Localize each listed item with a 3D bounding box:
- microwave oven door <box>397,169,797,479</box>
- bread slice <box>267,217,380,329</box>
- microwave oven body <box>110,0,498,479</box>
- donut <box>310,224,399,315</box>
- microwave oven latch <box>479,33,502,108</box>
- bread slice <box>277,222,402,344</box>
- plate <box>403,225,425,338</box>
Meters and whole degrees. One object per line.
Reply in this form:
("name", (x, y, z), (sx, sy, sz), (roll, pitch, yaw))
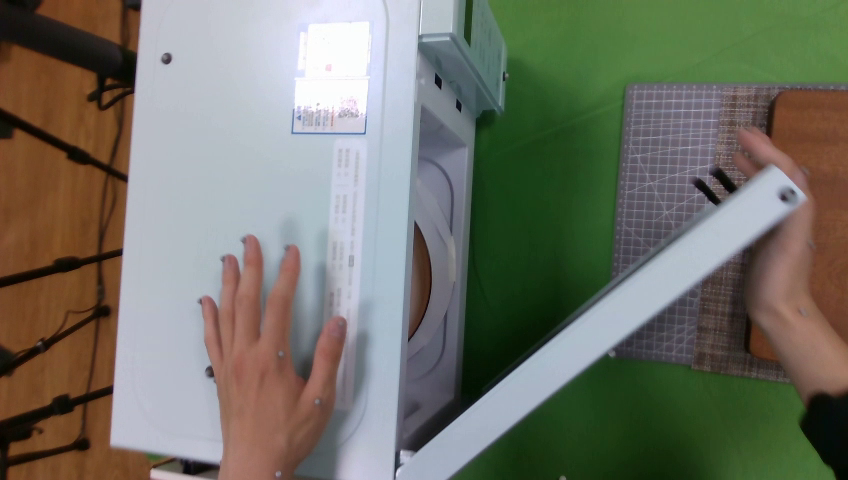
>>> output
("microwave oven door", (0.144, 0.080, 0.544), (0.356, 0.245, 0.039), (-43, 76, 11))
("bread slice", (-0.102, 0.032, 0.608), (0.133, 0.018, 0.107), (0, 89, 28))
("microwave oven body", (-0.107, -0.023, 0.625), (0.325, 0.261, 0.441), (2, 89, 16))
("donut", (-0.075, 0.032, 0.643), (0.099, 0.048, 0.099), (-1, 84, 14))
("microwave oven latch", (0.072, -0.190, 0.679), (0.030, 0.029, 0.079), (3, 90, 16))
("bread slice", (-0.103, 0.042, 0.675), (0.131, 0.019, 0.105), (25, 96, 14))
("plate", (-0.098, 0.041, 0.671), (0.207, 0.039, 0.207), (0, 89, 12))
